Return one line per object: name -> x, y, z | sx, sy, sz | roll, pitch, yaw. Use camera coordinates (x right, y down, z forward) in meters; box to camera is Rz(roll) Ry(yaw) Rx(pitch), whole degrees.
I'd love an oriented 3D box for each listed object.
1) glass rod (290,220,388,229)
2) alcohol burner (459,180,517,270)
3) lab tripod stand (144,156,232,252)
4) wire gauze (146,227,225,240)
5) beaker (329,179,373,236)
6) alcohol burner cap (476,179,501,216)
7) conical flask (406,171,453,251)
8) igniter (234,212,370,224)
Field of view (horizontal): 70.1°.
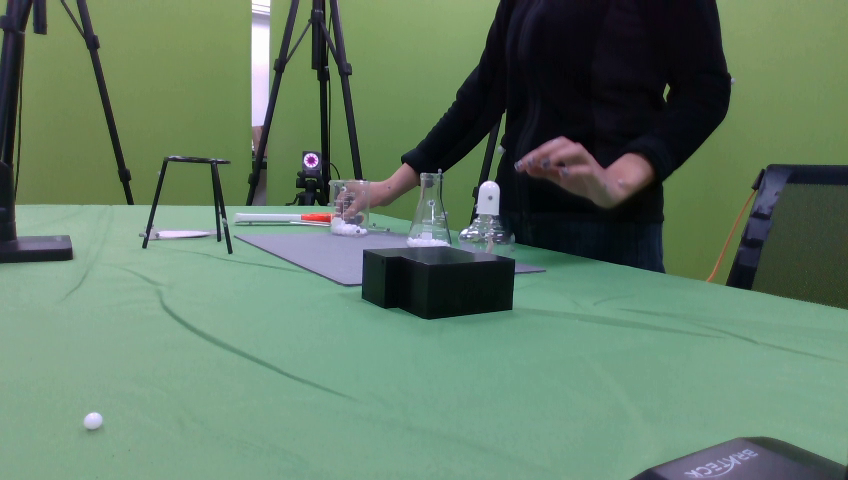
glass rod -> -0.162, -0.030, 1.173 | 0.201, 0.008, 0.008 | 4, 5, -28
alcohol burner -> 0.086, -0.021, 0.806 | 0.078, 0.119, 0.078 | 3, 9, 0
lab tripod stand -> -0.325, -0.054, 0.881 | 0.148, 0.131, 0.148 | 4, 7, 0
wire gauze -> -0.400, -0.012, 1.019 | 0.122, 0.011, 0.124 | -1, 6, -26
beaker -> -0.137, -0.061, 1.101 | 0.084, 0.100, 0.074 | 5, 7, 20
alcohol burner cap -> 0.086, -0.057, 0.801 | 0.034, 0.048, 0.034 | 4, 2, 0
conical flask -> 0.011, -0.046, 0.948 | 0.075, 0.122, 0.075 | 2, 7, 0
igniter -> -0.247, -0.046, 1.253 | 0.278, 0.025, 0.057 | -1, -2, -27
